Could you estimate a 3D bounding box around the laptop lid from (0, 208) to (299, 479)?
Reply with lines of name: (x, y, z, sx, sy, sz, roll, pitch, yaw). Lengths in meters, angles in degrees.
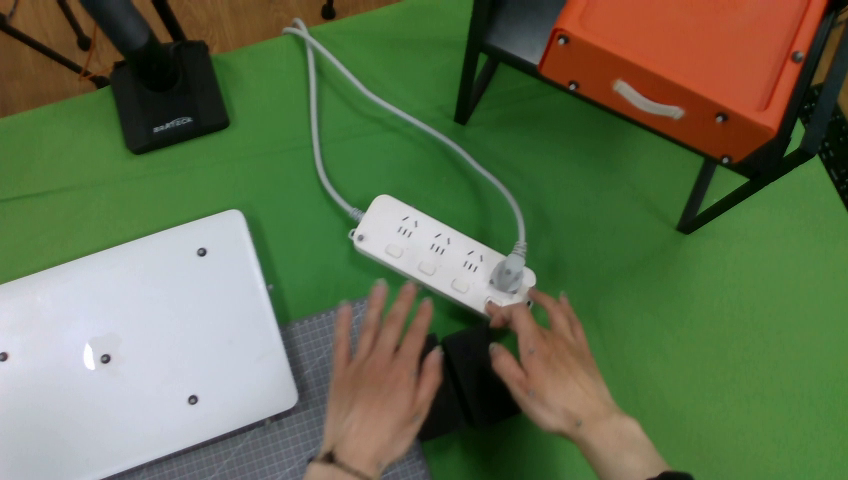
laptop lid: (-0.335, 0.124, 0.645, 0.357, 0.013, 0.240, -18, 79, -7)

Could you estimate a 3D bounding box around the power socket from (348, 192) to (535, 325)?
power socket: (0.022, 0.021, 0.689, 0.226, 0.033, 0.072, 28, 77, 5)

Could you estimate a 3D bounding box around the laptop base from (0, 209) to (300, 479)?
laptop base: (-0.336, 0.125, 0.658, 0.354, 0.023, 0.234, -20, 80, -7)

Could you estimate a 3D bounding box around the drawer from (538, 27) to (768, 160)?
drawer: (0.235, -0.207, 0.545, 0.194, 0.073, 0.211, 26, 76, 5)

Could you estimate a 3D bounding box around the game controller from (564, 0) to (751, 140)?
game controller: (0.216, -0.167, 0.548, 0.155, 0.052, 0.097, 30, 81, 7)

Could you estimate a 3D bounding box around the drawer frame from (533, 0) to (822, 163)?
drawer frame: (0.234, -0.210, 0.544, 0.201, 0.083, 0.213, 26, 76, 4)

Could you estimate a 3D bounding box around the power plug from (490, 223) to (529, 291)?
power plug: (0.102, 0.024, 0.669, 0.035, 0.053, 0.072, 37, 77, 7)
